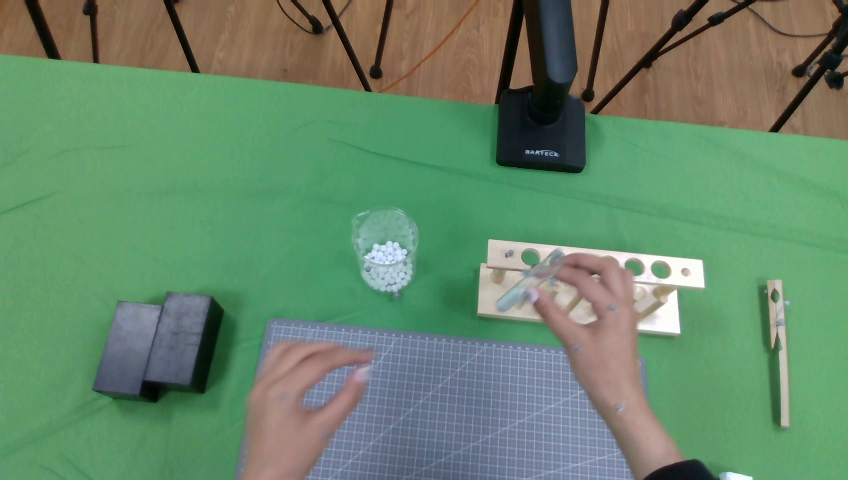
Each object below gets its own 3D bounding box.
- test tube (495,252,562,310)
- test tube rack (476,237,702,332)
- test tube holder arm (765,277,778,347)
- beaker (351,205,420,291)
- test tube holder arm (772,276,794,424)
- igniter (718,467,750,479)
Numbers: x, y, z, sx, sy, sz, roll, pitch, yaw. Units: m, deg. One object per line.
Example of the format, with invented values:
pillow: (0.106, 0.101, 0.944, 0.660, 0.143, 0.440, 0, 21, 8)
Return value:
test tube: (0.092, 0.041, 0.559, 0.017, 0.151, 0.017, 3, 70, -9)
test tube rack: (0.188, 0.054, 0.711, 0.242, 0.086, 0.066, 5, 66, 0)
test tube holder arm: (0.428, 0.088, 0.745, 0.010, 0.015, 0.087, -7, 63, 32)
beaker: (-0.047, 0.012, 0.711, 0.083, 0.101, 0.074, 32, 68, 12)
test tube holder arm: (0.428, 0.128, 0.724, 0.013, 0.015, 0.177, -9, 62, 31)
igniter: (0.311, 0.374, 0.609, 0.057, 0.025, 0.274, 16, 66, -7)
